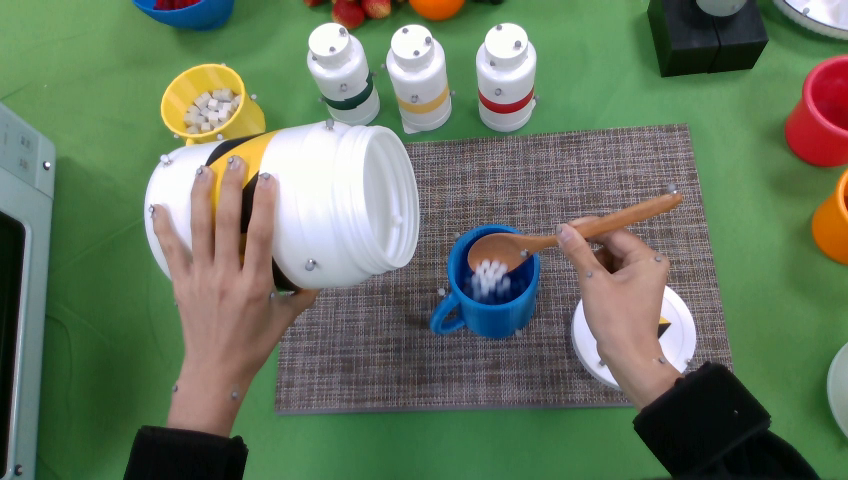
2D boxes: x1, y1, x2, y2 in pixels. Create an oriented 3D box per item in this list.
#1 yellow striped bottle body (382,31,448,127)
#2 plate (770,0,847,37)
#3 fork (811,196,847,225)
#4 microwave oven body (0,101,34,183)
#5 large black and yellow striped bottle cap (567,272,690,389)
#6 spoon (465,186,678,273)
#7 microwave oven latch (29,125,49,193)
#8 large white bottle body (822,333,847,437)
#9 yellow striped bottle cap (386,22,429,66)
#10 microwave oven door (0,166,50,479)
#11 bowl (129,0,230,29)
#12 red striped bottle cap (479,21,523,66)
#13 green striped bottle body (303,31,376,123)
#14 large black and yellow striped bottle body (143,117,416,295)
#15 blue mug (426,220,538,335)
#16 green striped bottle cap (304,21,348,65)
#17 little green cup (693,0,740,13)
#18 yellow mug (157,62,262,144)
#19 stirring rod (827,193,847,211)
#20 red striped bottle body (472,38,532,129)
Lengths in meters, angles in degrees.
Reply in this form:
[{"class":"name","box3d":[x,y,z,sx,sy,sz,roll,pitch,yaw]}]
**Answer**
[{"class":"yellow striped bottle body","box3d":[-0.009,-0.182,0.669,0.063,0.121,0.062,-2,68,7]},{"class":"plate","box3d":[0.491,-0.318,0.705,0.209,0.038,0.207,-2,69,6]},{"class":"fork","box3d":[0.443,-0.009,0.532,0.028,0.019,0.205,-30,24,-13]},{"class":"microwave oven body","box3d":[-0.590,0.062,0.567,0.326,0.262,0.438,-12,69,2]},{"class":"large black and yellow striped bottle cap","box3d":[0.199,0.087,0.593,0.115,0.019,0.114,-2,68,6]},{"class":"spoon","box3d":[0.113,-0.007,0.500,0.021,0.193,0.042,-45,109,-46]},{"class":"microwave oven latch","box3d":[-0.464,-0.094,0.715,0.030,0.030,0.078,-11,69,2]},{"class":"large white bottle body","box3d":[0.420,0.108,0.470,0.130,0.186,0.129,-2,68,6]},{"class":"yellow striped bottle cap","box3d":[-0.017,-0.201,0.621,0.044,0.019,0.044,-1,66,2]},{"class":"microwave oven door","box3d":[-0.440,0.069,0.540,0.039,0.245,0.353,-12,68,3]},{"class":"bowl","box3d":[-0.303,-0.330,0.784,0.151,0.077,0.150,-2,69,6]},{"class":"red striped bottle cap","box3d":[0.078,-0.198,0.608,0.044,0.018,0.044,-1,67,3]},{"class":"green striped bottle body","box3d":[-0.095,-0.188,0.682,0.063,0.120,0.062,-2,68,6]},{"class":"large black and yellow striped bottle body","box3d":[-0.109,-0.026,0.488,0.183,0.132,0.130,-6,67,19]},{"class":"blue mug","box3d":[0.051,0.048,0.577,0.116,0.106,0.081,-35,68,-7]},{"class":"green striped bottle cap","box3d":[-0.103,-0.207,0.634,0.044,0.020,0.044,-2,67,6]},{"class":"little green cup","box3d":[0.322,-0.279,0.656,0.061,0.039,0.061,-2,67,5]},{"class":"yellow mug","box3d":[-0.254,-0.136,0.710,0.100,0.064,0.130,6,71,9]},{"class":"stirring rod","box3d":[0.414,-0.009,0.543,0.014,0.006,0.175,0,26,4]},{"class":"red striped bottle body","box3d":[0.084,-0.178,0.657,0.063,0.120,0.062,-2,68,6]}]
